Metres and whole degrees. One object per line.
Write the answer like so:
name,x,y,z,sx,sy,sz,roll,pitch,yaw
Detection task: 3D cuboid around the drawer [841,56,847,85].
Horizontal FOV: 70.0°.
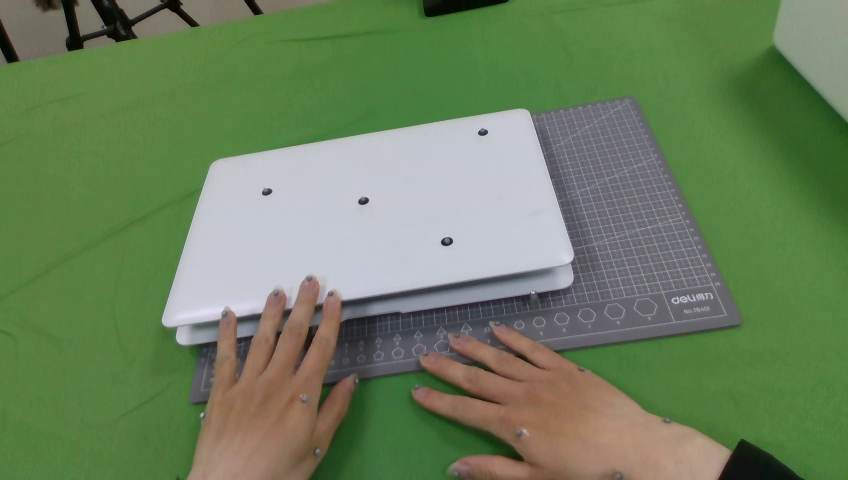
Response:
drawer,0.511,-0.123,0.513,0.194,0.074,0.209,-11,50,6

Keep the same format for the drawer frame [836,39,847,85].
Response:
drawer frame,0.511,-0.126,0.512,0.201,0.083,0.211,-9,48,4

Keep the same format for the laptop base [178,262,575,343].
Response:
laptop base,-0.052,-0.022,0.595,0.354,0.023,0.233,-9,52,4

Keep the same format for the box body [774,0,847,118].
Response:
box body,0.510,-0.175,0.511,0.254,0.162,0.360,-13,49,1

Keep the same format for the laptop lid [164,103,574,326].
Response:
laptop lid,-0.056,-0.037,0.576,0.356,0.013,0.239,-8,46,6
